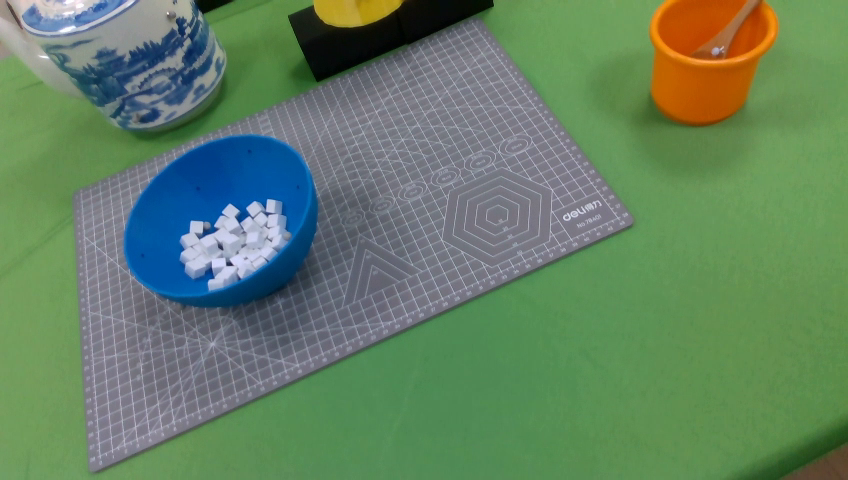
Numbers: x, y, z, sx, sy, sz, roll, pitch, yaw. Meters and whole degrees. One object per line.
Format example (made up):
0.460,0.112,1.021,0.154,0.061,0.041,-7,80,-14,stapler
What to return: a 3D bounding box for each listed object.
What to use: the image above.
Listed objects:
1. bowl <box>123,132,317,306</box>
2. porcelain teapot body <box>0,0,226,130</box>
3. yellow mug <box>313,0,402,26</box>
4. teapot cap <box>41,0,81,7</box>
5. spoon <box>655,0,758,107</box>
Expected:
-0.148,-0.004,0.486,0.151,0.077,0.150,-6,57,10,bowl
-0.327,-0.211,0.575,0.205,0.227,0.143,-20,56,2,porcelain teapot body
-0.056,-0.262,0.577,0.130,0.064,0.099,16,64,22,yellow mug
-0.308,-0.240,0.542,0.085,0.044,0.084,-7,59,12,teapot cap
0.252,-0.183,0.464,0.022,0.194,0.041,0,47,-41,spoon
